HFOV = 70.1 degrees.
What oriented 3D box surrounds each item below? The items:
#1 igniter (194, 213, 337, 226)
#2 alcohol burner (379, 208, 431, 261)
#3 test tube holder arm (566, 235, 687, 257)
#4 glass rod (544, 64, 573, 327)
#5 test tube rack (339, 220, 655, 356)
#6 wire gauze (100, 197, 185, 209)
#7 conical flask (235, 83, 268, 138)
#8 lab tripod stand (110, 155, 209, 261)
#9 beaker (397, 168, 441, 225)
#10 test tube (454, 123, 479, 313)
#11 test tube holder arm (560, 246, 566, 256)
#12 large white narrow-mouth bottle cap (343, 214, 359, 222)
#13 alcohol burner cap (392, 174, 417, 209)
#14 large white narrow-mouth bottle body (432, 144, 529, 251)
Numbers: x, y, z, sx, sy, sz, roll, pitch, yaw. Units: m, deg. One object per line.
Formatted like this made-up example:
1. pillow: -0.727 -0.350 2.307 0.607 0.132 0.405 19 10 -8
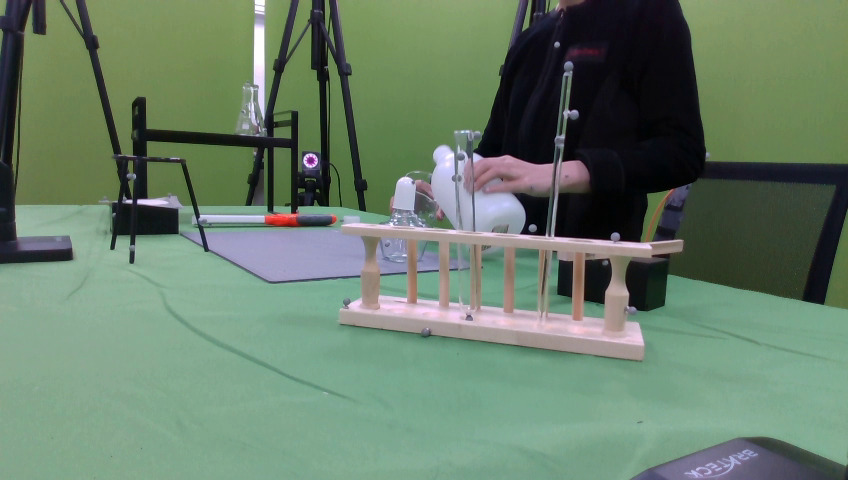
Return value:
1. igniter: -0.306 -0.041 1.197 0.278 0.025 0.057 -2 -2 -30
2. alcohol burner: -0.027 -0.031 0.838 0.078 0.119 0.078 0 6 0
3. test tube holder arm: 0.215 0.006 0.630 0.179 0.015 0.013 -3 9 -30
4. glass rod: 0.101 -0.028 0.453 0.008 0.199 0.008 1 14 0
5. test tube rack: 0.056 0.032 0.495 0.242 0.085 0.067 4 7 15
6. wire gauze: -0.469 -0.062 1.008 0.126 0.011 0.121 -2 8 -25
7. conical flask: -0.402 -0.299 1.406 0.075 0.122 0.075 2 7 0
8. lab tripod stand: -0.361 -0.046 0.806 0.148 0.131 0.148 2 5 0
9. beaker: -0.005 -0.063 1.058 0.074 0.100 0.083 -6 42 -24
10. test tube: 0.034 -0.016 0.477 0.017 0.150 0.017 -2 9 1
11. test tube holder arm: 0.173 0.007 0.611 0.088 0.015 0.010 -3 9 -30
12. large white narrow-mouth bottle cap: -0.155 -0.043 1.282 0.038 0.024 0.037 2 8 0
13. alcohol burner cap: -0.025 -0.067 0.834 0.034 0.048 0.034 8 7 -1
14. large white narrow-mouth bottle body: 0.070 -0.080 0.922 0.102 0.101 0.194 -3 45 -35
